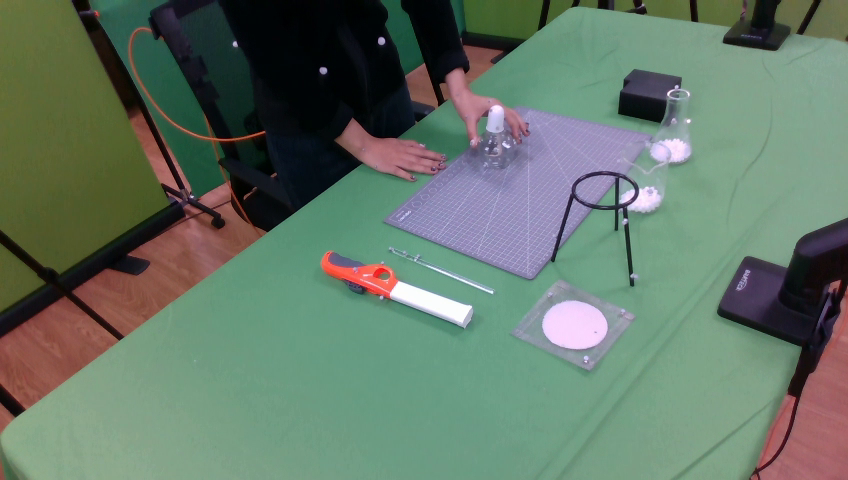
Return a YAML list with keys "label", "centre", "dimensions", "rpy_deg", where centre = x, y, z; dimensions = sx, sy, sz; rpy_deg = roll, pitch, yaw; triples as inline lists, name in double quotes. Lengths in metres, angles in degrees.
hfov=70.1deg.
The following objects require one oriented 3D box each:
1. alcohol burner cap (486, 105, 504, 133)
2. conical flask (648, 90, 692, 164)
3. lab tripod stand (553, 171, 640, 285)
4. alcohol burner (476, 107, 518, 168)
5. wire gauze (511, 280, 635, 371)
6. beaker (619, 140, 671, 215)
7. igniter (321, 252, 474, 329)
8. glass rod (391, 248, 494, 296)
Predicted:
- label: "alcohol burner cap"
  centre: [0.130, -0.220, 1.087]
  dimensions: [0.034, 0.048, 0.033]
  rpy_deg: [1, 41, 0]
- label: "conical flask"
  centre: [0.437, -0.199, 1.057]
  dimensions: [0.075, 0.122, 0.075]
  rpy_deg: [-5, 40, 5]
- label: "lab tripod stand"
  centre: [0.260, -0.025, 0.877]
  dimensions: [0.148, 0.132, 0.147]
  rpy_deg: [-6, 38, 5]
- label: "alcohol burner"
  centre: [0.133, -0.193, 1.112]
  dimensions: [0.078, 0.119, 0.077]
  rpy_deg: [-5, 43, 5]
- label: "wire gauze"
  centre: [0.203, 0.114, 0.822]
  dimensions: [0.120, 0.011, 0.125]
  rpy_deg: [25, 52, 35]
- label: "beaker"
  centre: [0.352, -0.096, 0.971]
  dimensions: [0.074, 0.101, 0.084]
  rpy_deg: [1, 42, 13]
- label: "igniter"
  centre: [-0.051, 0.071, 0.906]
  dimensions: [0.274, 0.025, 0.057]
  rpy_deg: [18, 57, 29]
- label: "glass rod"
  centre: [0.024, 0.047, 0.935]
  dimensions: [0.198, 0.008, 0.008]
  rpy_deg: [23, 50, 32]
